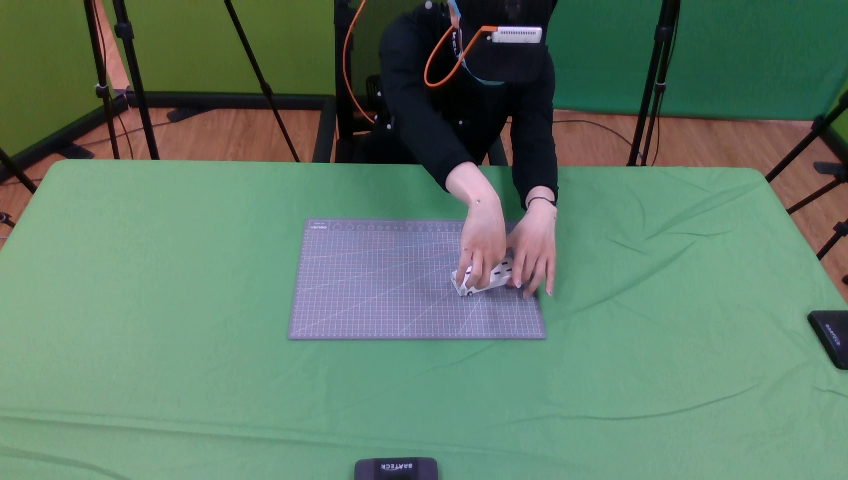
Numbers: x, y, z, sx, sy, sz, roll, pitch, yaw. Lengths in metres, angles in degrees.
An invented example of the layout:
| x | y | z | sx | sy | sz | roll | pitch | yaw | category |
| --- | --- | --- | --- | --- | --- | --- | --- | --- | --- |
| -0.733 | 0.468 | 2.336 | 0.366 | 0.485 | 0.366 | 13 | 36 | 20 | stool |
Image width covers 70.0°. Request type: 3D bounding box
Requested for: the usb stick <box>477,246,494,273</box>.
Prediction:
| x | y | z | sx | sy | sz | roll | pitch | yaw | category |
| --- | --- | --- | --- | --- | --- | --- | --- | --- | --- |
| 0.111 | 0.040 | 1.108 | 0.021 | 0.059 | 0.027 | -18 | 51 | -19 | usb stick |

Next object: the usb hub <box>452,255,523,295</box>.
| x | y | z | sx | sy | sz | roll | pitch | yaw | category |
| --- | --- | --- | --- | --- | --- | --- | --- | --- | --- |
| 0.119 | 0.065 | 1.132 | 0.125 | 0.025 | 0.049 | -14 | 48 | -15 | usb hub |
